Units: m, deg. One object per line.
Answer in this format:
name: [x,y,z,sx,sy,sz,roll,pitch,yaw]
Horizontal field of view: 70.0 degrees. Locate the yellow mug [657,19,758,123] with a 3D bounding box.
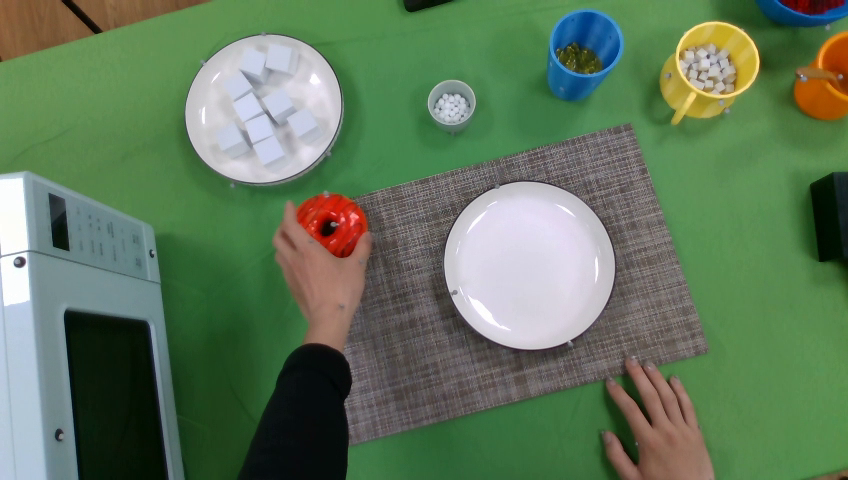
yellow mug: [0.344,-0.201,0.756,0.099,0.064,0.130,33,85,9]

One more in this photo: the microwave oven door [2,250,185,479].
microwave oven door: [-0.322,0.201,0.619,0.039,0.245,0.354,-12,79,1]

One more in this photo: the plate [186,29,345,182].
plate: [-0.205,-0.174,0.800,0.207,0.039,0.207,-1,80,4]

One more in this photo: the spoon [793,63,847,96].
spoon: [0.468,-0.192,0.705,0.021,0.195,0.041,-28,73,44]

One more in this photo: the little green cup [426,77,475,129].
little green cup: [0.035,-0.175,0.785,0.061,0.039,0.061,-1,79,4]

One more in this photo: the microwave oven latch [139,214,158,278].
microwave oven latch: [-0.355,0.009,0.758,0.030,0.029,0.079,-11,80,1]

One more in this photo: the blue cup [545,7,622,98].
blue cup: [0.189,-0.223,0.752,0.092,0.100,0.092,0,81,3]

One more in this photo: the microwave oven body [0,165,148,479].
microwave oven body: [-0.472,0.191,0.636,0.326,0.261,0.439,-12,80,1]

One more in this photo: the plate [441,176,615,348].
plate: [0.124,0.026,0.740,0.209,0.038,0.208,-1,80,4]

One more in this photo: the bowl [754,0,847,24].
bowl: [0.475,-0.331,0.765,0.151,0.077,0.151,-1,81,4]

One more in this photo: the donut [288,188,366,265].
donut: [-0.121,-0.017,0.756,0.099,0.048,0.098,0,81,2]
